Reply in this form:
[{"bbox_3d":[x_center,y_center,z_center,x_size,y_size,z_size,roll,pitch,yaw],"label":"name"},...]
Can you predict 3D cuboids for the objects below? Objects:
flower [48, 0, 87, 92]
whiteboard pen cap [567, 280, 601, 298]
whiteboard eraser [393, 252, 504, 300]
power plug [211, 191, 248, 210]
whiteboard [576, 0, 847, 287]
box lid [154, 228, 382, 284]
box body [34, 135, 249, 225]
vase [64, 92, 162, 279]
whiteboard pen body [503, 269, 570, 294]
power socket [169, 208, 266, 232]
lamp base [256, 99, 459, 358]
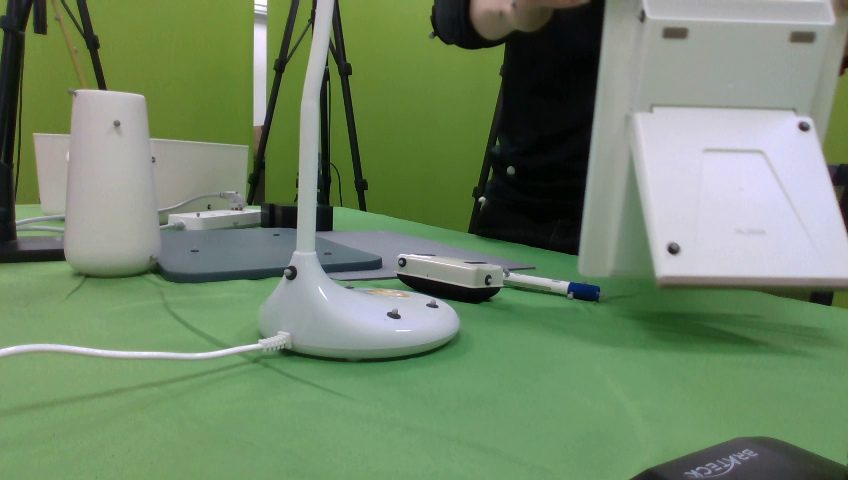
[{"bbox_3d":[-0.361,-0.141,0.659,0.038,0.361,0.044,-13,11,12],"label":"flower"},{"bbox_3d":[0.171,0.052,0.648,0.033,0.018,0.018,9,10,31],"label":"whiteboard pen cap"},{"bbox_3d":[0.024,0.037,0.637,0.112,0.042,0.056,8,8,42],"label":"whiteboard eraser"},{"bbox_3d":[-0.384,-0.071,1.205,0.072,0.052,0.035,1,7,27],"label":"power plug"},{"bbox_3d":[0.260,-0.086,0.492,0.217,0.305,0.143,1,20,0],"label":"whiteboard"},{"bbox_3d":[-0.250,0.014,0.852,0.265,0.015,0.369,-3,9,-32],"label":"box lid"},{"bbox_3d":[-0.561,-0.127,1.258,0.254,0.160,0.365,4,8,13],"label":"box body"},{"bbox_3d":[-0.348,-0.060,0.672,0.098,0.200,0.098,1,7,0],"label":"vase"},{"bbox_3d":[0.123,0.046,0.680,0.140,0.017,0.017,8,9,30],"label":"whiteboard pen body"},{"bbox_3d":[-0.379,-0.038,1.129,0.072,0.032,0.227,4,8,18],"label":"power socket"},{"bbox_3d":[-0.055,-0.013,0.463,0.160,0.180,0.180,6,11,27],"label":"lamp base"}]
